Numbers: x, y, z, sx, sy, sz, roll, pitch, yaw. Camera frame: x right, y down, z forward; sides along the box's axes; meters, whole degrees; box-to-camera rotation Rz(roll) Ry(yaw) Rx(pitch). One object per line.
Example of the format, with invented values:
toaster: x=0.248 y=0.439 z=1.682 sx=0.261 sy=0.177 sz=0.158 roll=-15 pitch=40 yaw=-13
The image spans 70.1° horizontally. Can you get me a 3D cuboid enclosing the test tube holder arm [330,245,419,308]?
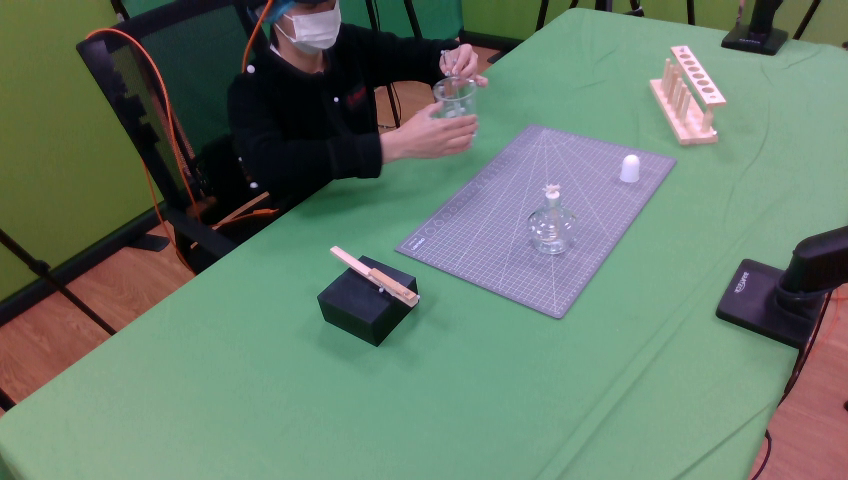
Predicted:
test tube holder arm: x=-0.074 y=0.049 z=0.857 sx=0.015 sy=0.013 sz=0.177 roll=-36 pitch=48 yaw=-29

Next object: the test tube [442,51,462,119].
test tube: x=0.053 y=-0.284 z=1.122 sx=0.017 sy=0.151 sz=0.017 roll=-7 pitch=52 yaw=9

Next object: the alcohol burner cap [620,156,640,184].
alcohol burner cap: x=0.358 y=-0.124 z=1.047 sx=0.034 sy=0.048 sz=0.033 roll=-4 pitch=40 yaw=4

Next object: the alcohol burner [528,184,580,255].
alcohol burner: x=0.196 y=-0.036 z=0.911 sx=0.078 sy=0.119 sz=0.077 roll=-6 pitch=41 yaw=5

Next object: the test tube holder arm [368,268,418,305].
test tube holder arm: x=-0.043 y=0.063 z=0.827 sx=0.015 sy=0.010 sz=0.087 roll=-36 pitch=47 yaw=-29

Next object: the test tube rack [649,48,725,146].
test tube rack: x=0.508 y=-0.285 z=1.186 sx=0.067 sy=0.085 sz=0.241 roll=-4 pitch=40 yaw=6

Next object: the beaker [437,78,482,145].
beaker: x=0.069 y=-0.229 z=1.084 sx=0.084 sy=0.101 sz=0.073 roll=-30 pitch=48 yaw=-20
